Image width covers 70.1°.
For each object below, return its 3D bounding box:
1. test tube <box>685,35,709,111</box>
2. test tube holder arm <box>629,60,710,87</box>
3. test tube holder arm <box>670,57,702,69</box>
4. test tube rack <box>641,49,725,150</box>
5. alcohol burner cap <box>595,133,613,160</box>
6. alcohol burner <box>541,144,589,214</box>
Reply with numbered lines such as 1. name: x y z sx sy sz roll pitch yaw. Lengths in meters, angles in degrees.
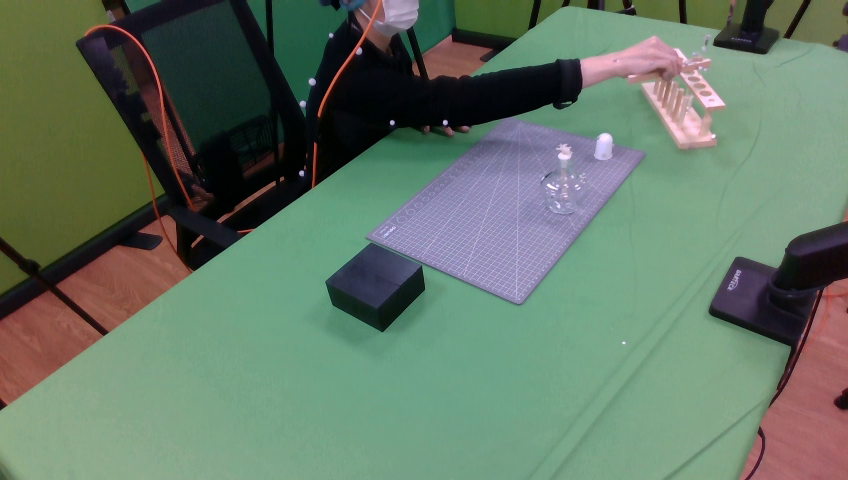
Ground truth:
1. test tube: 0.507 -0.310 1.133 0.017 0.151 0.017 -2 41 3
2. test tube holder arm: 0.444 -0.302 1.090 0.179 0.015 0.013 -18 36 -20
3. test tube holder arm: 0.480 -0.319 1.111 0.088 0.015 0.010 -25 39 -28
4. test tube rack: 0.495 -0.279 1.175 0.067 0.085 0.241 -5 41 3
5. alcohol burner cap: 0.330 -0.172 1.105 0.034 0.048 0.033 -5 41 5
6. alcohol burner: 0.229 -0.102 0.983 0.078 0.119 0.077 -6 41 5
